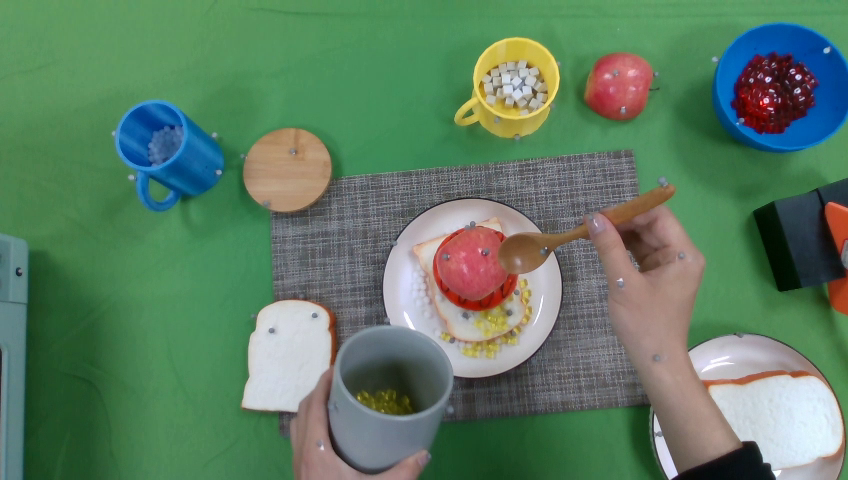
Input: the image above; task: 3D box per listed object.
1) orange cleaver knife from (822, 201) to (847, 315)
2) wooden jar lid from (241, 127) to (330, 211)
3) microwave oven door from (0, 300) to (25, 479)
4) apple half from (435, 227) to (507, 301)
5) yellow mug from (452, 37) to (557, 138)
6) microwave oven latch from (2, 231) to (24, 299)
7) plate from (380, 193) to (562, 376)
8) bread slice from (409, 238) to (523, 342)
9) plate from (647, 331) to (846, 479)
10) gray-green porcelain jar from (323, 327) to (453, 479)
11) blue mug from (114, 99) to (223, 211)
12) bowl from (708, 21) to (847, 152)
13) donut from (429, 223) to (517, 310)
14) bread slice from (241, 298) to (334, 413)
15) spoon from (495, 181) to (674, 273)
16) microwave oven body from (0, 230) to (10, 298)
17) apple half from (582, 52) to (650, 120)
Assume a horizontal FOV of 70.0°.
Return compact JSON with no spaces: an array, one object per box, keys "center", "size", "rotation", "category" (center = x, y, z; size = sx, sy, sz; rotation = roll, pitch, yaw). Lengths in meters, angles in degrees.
[{"center":[0.471,0.060,0.664],"size":[0.012,0.077,0.212],"rotation":[-16,102,-7],"category":"orange cleaver knife"},{"center":[-0.168,-0.085,0.744],"size":[0.108,0.021,0.108],"rotation":[-1,78,3],"category":"wooden jar lid"},{"center":[-0.483,0.228,0.578],"size":[0.039,0.244,0.354],"rotation":[-5,80,2],"category":"microwave oven door"},{"center":[0.051,0.024,0.642],"size":[0.081,0.033,0.081],"rotation":[-2,79,10],"category":"apple half"},{"center":[0.091,-0.174,0.727],"size":[0.131,0.064,0.099],"rotation":[-29,80,-2],"category":"yellow mug"},{"center":[-0.493,0.030,0.714],"size":[0.030,0.029,0.079],"rotation":[-2,81,2],"category":"microwave oven latch"},{"center":[0.053,0.051,0.702],"size":[0.207,0.039,0.207],"rotation":[0,81,2],"category":"plate"},{"center":[0.057,0.051,0.710],"size":[0.107,0.018,0.133],"rotation":[-22,74,-5],"category":"bread slice"},{"center":[0.348,0.205,0.668],"size":[0.209,0.038,0.208],"rotation":[0,81,3],"category":"plate"},{"center":[-0.038,0.162,0.566],"size":[0.106,0.127,0.105],"rotation":[10,38,-7],"category":"gray-green porcelain jar"},{"center":[-0.300,-0.090,0.710],"size":[0.082,0.106,0.116],"rotation":[15,82,5],"category":"blue mug"},{"center":[0.397,-0.166,0.706],"size":[0.151,0.077,0.151],"rotation":[0,81,3],"category":"bowl"},{"center":[0.055,0.030,0.677],"size":[0.099,0.048,0.098],"rotation":[0,81,3],"category":"donut"},{"center":[-0.158,0.133,0.709],"size":[0.105,0.019,0.131],"rotation":[2,82,2],"category":"bread slice"},{"center":[0.126,-0.008,0.507],"size":[0.042,0.193,0.021],"rotation":[51,57,-8],"category":"spoon"},{"center":[-0.630,0.200,0.594],"size":[0.326,0.261,0.440],"rotation":[-5,81,1],"category":"microwave oven body"},{"center":[0.233,-0.192,0.730],"size":[0.074,0.053,0.080],"rotation":[17,82,8],"category":"apple half"}]
